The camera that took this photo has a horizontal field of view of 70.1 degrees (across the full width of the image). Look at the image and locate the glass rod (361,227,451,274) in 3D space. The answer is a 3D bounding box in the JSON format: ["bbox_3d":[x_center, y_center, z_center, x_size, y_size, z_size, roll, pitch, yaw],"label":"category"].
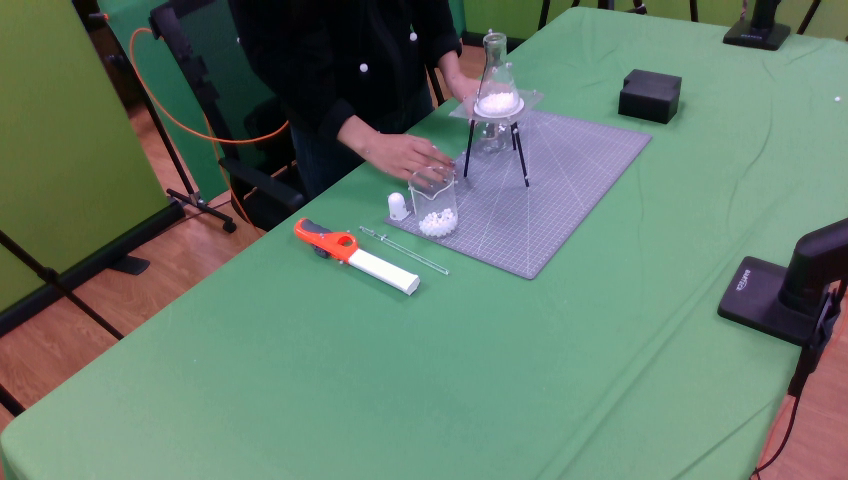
[{"bbox_3d":[-0.033,0.014,0.985,0.198,0.008,0.008,25,52,34],"label":"glass rod"}]

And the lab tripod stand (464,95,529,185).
[{"bbox_3d":[0.138,-0.182,1.082,0.148,0.132,0.147,-6,38,5],"label":"lab tripod stand"}]

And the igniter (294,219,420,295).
[{"bbox_3d":[-0.118,0.022,0.977,0.274,0.025,0.057,24,60,34],"label":"igniter"}]

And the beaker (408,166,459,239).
[{"bbox_3d":[0.018,-0.057,0.984,0.074,0.101,0.083,-6,41,5],"label":"beaker"}]

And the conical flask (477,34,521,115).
[{"bbox_3d":[0.121,-0.275,0.999,0.075,0.122,0.075,-5,40,5],"label":"conical flask"}]

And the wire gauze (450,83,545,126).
[{"bbox_3d":[0.127,-0.232,1.041,0.120,0.011,0.125,17,49,31],"label":"wire gauze"}]

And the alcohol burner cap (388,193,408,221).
[{"bbox_3d":[-0.047,-0.059,1.043,0.034,0.048,0.033,-5,41,5],"label":"alcohol burner cap"}]

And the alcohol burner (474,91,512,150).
[{"bbox_3d":[0.134,-0.232,1.158,0.078,0.119,0.077,-4,42,4],"label":"alcohol burner"}]
